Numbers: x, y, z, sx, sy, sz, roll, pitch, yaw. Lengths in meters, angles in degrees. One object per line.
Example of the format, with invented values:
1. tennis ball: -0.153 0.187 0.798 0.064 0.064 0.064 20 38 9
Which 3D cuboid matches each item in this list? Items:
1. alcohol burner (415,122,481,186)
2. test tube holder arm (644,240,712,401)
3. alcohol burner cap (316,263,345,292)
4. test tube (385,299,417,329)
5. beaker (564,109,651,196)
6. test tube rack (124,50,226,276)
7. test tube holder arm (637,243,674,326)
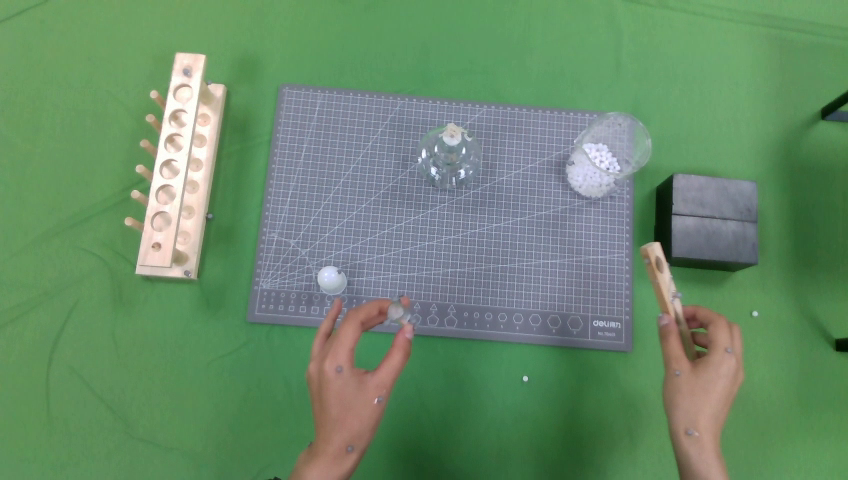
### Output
1. alcohol burner: 0.028 -0.105 0.692 0.078 0.119 0.077 0 78 0
2. test tube holder arm: 0.259 0.083 0.616 0.013 0.015 0.179 -26 98 -9
3. alcohol burner cap: -0.109 0.041 0.693 0.034 0.048 0.033 1 79 -3
4. test tube: -0.019 0.070 0.554 0.017 0.151 0.017 -1 78 4
5. beaker: 0.205 -0.097 0.706 0.084 0.100 0.073 3 77 0
6. test tube rack: -0.288 -0.087 0.692 0.067 0.085 0.241 5 78 -1
7. test tube holder arm: 0.235 0.044 0.609 0.010 0.015 0.088 -24 98 -9
